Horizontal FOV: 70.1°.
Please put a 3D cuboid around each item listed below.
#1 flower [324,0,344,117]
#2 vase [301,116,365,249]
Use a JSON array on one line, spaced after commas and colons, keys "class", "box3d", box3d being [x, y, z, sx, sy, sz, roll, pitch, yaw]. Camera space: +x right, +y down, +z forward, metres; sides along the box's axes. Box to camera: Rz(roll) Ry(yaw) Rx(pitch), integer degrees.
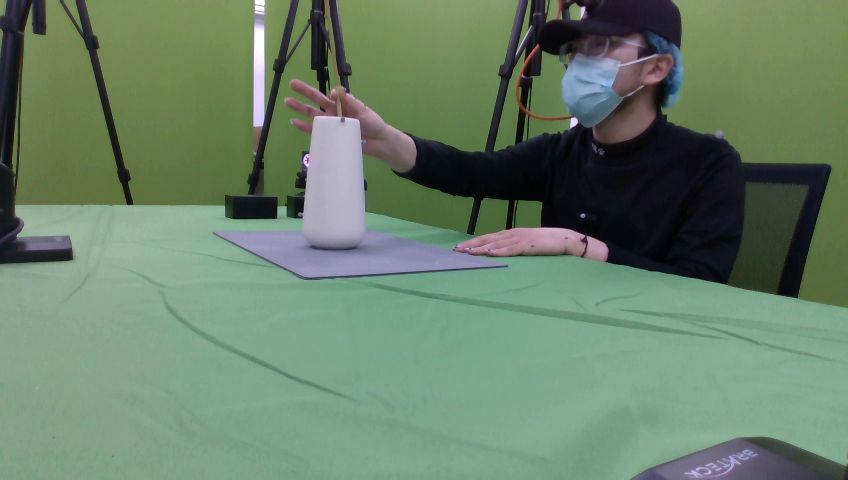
[{"class": "flower", "box3d": [-0.137, -0.270, 0.919, 0.044, 0.361, 0.038, -18, 17, -39]}, {"class": "vase", "box3d": [-0.139, -0.088, 0.931, 0.098, 0.200, 0.098, 2, 9, 0]}]
